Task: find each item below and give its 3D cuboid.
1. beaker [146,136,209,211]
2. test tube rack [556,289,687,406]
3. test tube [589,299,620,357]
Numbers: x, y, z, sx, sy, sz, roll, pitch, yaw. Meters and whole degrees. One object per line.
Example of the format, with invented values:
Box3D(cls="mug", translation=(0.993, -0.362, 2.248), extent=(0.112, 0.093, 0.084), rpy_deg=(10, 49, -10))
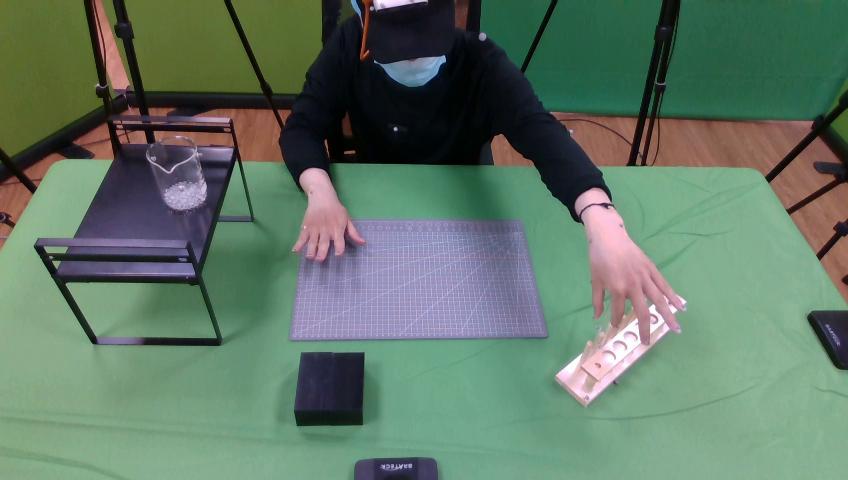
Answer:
Box3D(cls="beaker", translation=(-0.387, -0.101, 0.961), extent=(0.074, 0.101, 0.083), rpy_deg=(-5, 48, -7))
Box3D(cls="test tube rack", translation=(0.332, 0.165, 1.014), extent=(0.242, 0.085, 0.066), rpy_deg=(-31, 55, -28))
Box3D(cls="test tube", translation=(0.288, 0.144, 0.970), extent=(0.017, 0.151, 0.017), rpy_deg=(1, 47, -1))
